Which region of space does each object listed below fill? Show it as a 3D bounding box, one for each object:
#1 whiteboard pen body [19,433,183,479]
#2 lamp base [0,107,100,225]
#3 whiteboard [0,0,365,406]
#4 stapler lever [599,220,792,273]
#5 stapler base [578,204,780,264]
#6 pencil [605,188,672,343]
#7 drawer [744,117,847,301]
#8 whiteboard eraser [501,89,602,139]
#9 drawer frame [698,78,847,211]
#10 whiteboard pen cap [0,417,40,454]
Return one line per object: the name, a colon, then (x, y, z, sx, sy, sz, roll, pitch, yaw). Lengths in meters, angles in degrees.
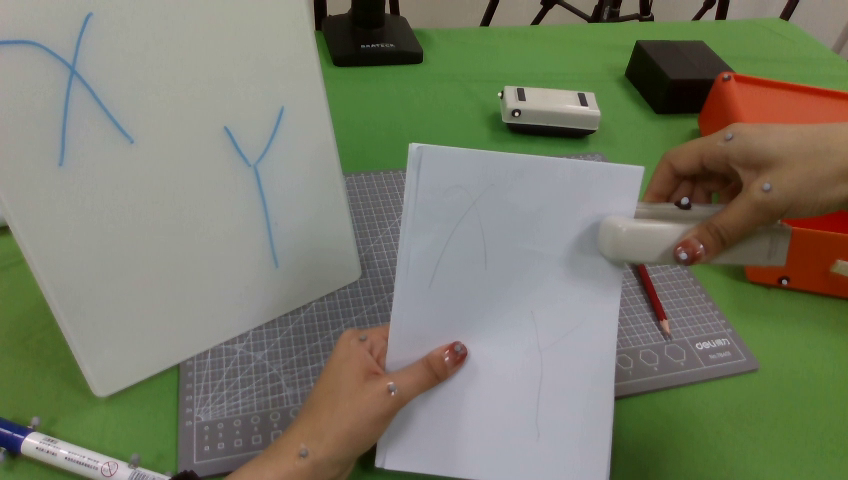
whiteboard pen body: (-0.210, 0.141, 0.381, 0.140, 0.017, 0.017, 14, 44, 8)
lamp base: (-0.395, -0.128, 0.514, 0.178, 0.182, 0.160, 22, 45, 17)
whiteboard: (-0.192, -0.079, 0.446, 0.217, 0.308, 0.142, -24, 33, -28)
stapler lever: (0.169, 0.005, 0.376, 0.118, 0.027, 0.040, 5, 16, 5)
stapler base: (0.169, 0.001, 0.393, 0.131, 0.041, 0.024, 2, 17, -2)
pencil: (0.201, 0.017, 0.573, 0.012, 0.012, 0.192, 1, 46, -7)
drawer: (0.413, -0.034, 0.610, 0.194, 0.074, 0.210, 9, 44, 3)
whiteboard eraser: (0.149, -0.148, 0.716, 0.113, 0.042, 0.055, 5, 45, -3)
drawer frame: (0.422, -0.078, 0.654, 0.201, 0.083, 0.211, 9, 43, 2)
whiteboard pen cap: (-0.266, 0.125, 0.389, 0.033, 0.018, 0.018, 14, 44, 9)
